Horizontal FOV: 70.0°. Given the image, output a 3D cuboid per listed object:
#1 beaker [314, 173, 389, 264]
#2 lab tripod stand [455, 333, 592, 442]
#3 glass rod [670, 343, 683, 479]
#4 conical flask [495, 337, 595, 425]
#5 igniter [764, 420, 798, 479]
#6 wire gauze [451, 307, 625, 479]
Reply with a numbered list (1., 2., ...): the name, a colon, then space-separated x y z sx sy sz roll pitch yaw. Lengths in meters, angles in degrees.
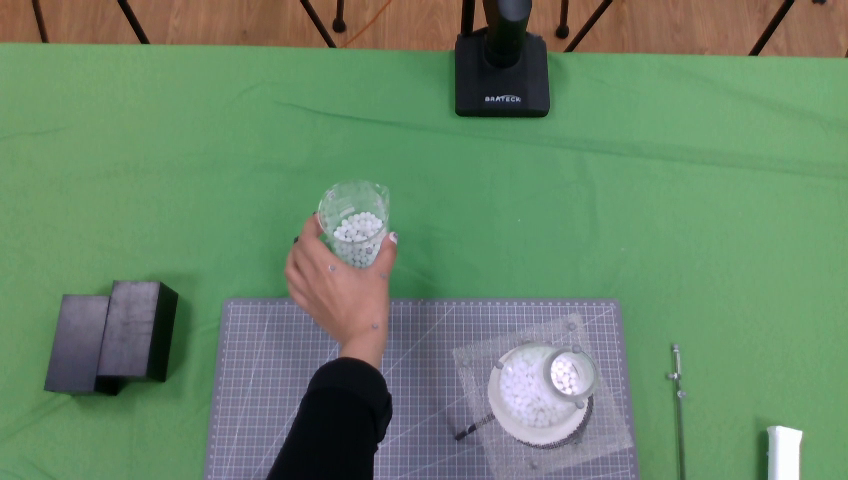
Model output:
1. beaker: -0.074 -0.020 0.669 0.084 0.101 0.073 -39 76 -14
2. lab tripod stand: 0.100 0.155 0.592 0.148 0.132 0.147 0 73 0
3. glass rod: 0.270 0.208 0.645 0.008 0.008 0.198 5 71 0
4. conical flask: 0.100 0.107 0.475 0.075 0.122 0.075 0 73 -1
5. igniter: 0.349 0.320 0.599 0.057 0.025 0.275 16 71 -6
6. wire gauze: 0.099 0.131 0.530 0.125 0.011 0.120 -15 75 -8
